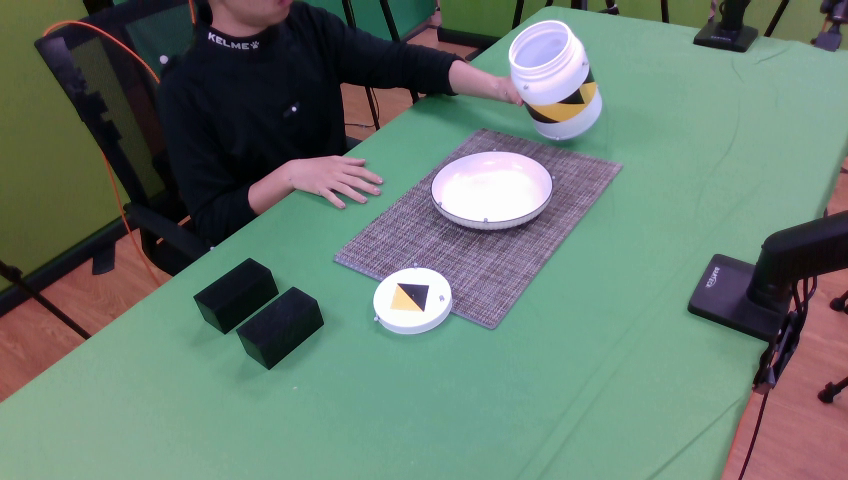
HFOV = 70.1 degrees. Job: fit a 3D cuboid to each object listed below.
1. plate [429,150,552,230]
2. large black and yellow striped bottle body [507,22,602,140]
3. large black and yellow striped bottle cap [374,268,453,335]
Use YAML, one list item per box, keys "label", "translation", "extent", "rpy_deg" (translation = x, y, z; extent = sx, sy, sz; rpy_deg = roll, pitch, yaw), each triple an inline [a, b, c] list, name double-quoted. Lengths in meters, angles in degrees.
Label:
- label: "plate"
  translation: [0.113, -0.082, 1.032]
  extent: [0.207, 0.039, 0.206]
  rpy_deg: [-4, 41, 4]
- label: "large black and yellow striped bottle body"
  translation: [0.231, -0.281, 1.077]
  extent: [0.130, 0.185, 0.130]
  rpy_deg: [-15, 55, 23]
- label: "large black and yellow striped bottle cap"
  translation: [-0.015, 0.087, 0.871]
  extent: [0.115, 0.019, 0.114]
  rpy_deg: [-6, 43, 6]
